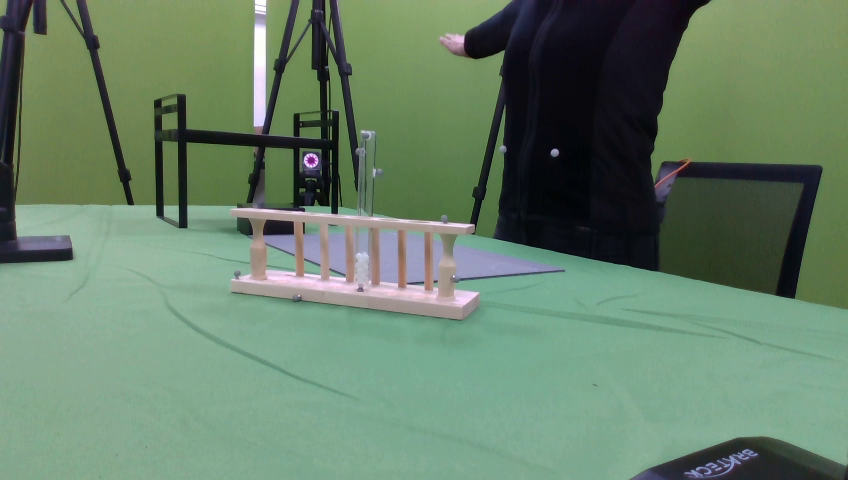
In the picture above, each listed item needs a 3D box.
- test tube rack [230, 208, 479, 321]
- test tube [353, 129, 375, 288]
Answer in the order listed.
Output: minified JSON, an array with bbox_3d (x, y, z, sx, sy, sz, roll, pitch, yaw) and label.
[{"bbox_3d":[-0.069,0.017,0.598,0.242,0.085,0.067,5,8,18],"label":"test tube rack"},{"bbox_3d":[-0.057,-0.028,0.570,0.017,0.150,0.017,3,11,0],"label":"test tube"}]
